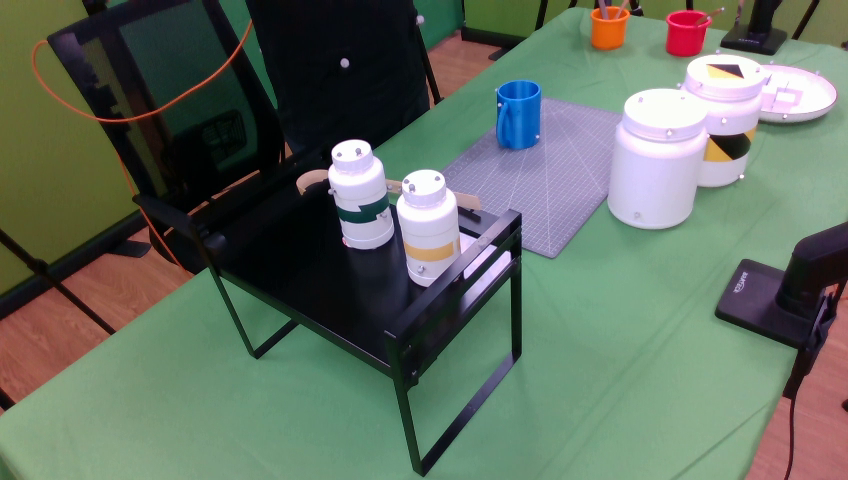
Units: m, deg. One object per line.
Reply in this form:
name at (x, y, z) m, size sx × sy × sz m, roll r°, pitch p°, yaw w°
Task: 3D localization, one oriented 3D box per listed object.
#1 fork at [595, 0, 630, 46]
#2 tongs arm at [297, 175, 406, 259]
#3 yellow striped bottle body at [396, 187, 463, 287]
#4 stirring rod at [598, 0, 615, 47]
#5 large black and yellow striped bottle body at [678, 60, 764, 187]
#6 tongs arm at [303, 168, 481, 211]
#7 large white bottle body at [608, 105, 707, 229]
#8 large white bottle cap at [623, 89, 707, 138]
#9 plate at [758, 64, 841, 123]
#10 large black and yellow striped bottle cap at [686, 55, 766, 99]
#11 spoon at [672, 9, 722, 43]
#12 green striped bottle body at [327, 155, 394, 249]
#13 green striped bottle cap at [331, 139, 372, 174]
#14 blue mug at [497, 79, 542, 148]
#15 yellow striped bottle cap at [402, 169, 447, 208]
fork at (0.480, -0.556, 1.453) m, size 0.028 × 0.019 × 0.207 m, roll 41°, pitch 103°, yaw 40°
tongs arm at (-0.128, -0.043, 1.007) m, size 0.028 × 0.028 × 0.384 m, roll -36°, pitch 38°, yaw -20°
yellow striped bottle body at (0.006, -0.013, 0.638) m, size 0.063 × 0.121 × 0.062 m, roll -5°, pitch 41°, yaw 4°
stirring rod at (0.437, -0.551, 1.462) m, size 0.014 × 0.006 × 0.175 m, roll -11°, pitch 83°, yaw 1°
large black and yellow striped bottle body at (0.482, -0.196, 1.008) m, size 0.131 × 0.185 × 0.130 m, roll -4°, pitch 41°, yaw 4°
tongs arm at (-0.070, -0.086, 1.049) m, size 0.381 × 0.026 × 0.051 m, roll 16°, pitch 46°, yaw 39°
large white bottle body at (0.361, -0.124, 0.941) m, size 0.130 × 0.185 × 0.130 m, roll -5°, pitch 41°, yaw 4°
large white bottle cap at (0.352, -0.187, 0.886) m, size 0.115 × 0.018 × 0.114 m, roll -4°, pitch 41°, yaw 4°
plate at (0.694, -0.283, 1.189) m, size 0.207 × 0.039 × 0.206 m, roll -4°, pitch 40°, yaw 4°
large black and yellow striped bottle cap at (0.474, -0.258, 0.952) m, size 0.115 × 0.019 × 0.114 m, roll -5°, pitch 41°, yaw 5°
spoon at (0.606, -0.476, 1.345) m, size 0.042 × 0.021 × 0.193 m, roll -6°, pitch -3°, yaw -2°
green striped bottle body at (-0.073, -0.053, 0.699) m, size 0.063 × 0.120 × 0.063 m, roll -5°, pitch 41°, yaw 4°
green striped bottle cap at (-0.080, -0.092, 0.665) m, size 0.044 × 0.020 × 0.044 m, roll -3°, pitch 41°, yaw 3°
blue mug at (0.174, -0.234, 1.156) m, size 0.081 × 0.106 × 0.117 m, roll 24°, pitch 50°, yaw 32°
yellow striped bottle cap at (0.000, -0.052, 0.605) m, size 0.044 × 0.019 × 0.044 m, roll -5°, pitch 42°, yaw 5°
